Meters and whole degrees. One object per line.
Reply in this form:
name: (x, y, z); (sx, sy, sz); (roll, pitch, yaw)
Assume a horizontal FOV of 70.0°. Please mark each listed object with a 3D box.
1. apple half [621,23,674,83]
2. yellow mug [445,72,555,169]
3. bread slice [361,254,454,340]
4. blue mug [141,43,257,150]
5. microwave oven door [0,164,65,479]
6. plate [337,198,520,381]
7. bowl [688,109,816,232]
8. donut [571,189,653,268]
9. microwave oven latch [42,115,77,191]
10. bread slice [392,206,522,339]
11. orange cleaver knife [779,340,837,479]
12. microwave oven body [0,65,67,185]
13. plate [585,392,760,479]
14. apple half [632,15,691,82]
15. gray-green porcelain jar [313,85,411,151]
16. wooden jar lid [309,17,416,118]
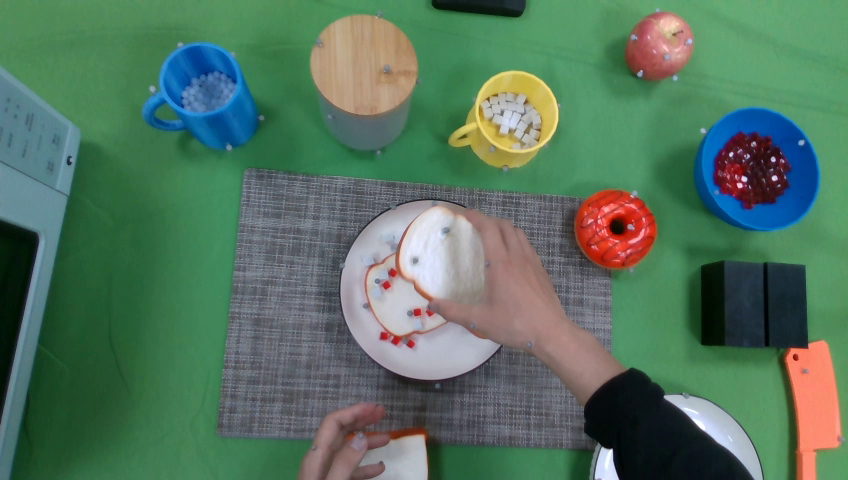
apple half: (0.269, -0.226, 0.759); (0.033, 0.081, 0.081); (-29, 85, -15)
yellow mug: (0.087, -0.137, 0.729); (0.131, 0.064, 0.099); (-19, 84, -9)
bread slice: (-0.004, 0.057, 0.698); (0.131, 0.019, 0.104); (-22, 84, -10)
blue mug: (-0.251, -0.149, 0.669); (0.116, 0.106, 0.082); (-21, 83, -9)
microwave oven door: (-0.418, 0.102, 0.522); (0.039, 0.244, 0.354); (7, 80, -5)
plate: (0.005, 0.056, 0.699); (0.208, 0.039, 0.207); (1, 81, -7)
bowl: (0.387, -0.077, 0.748); (0.151, 0.077, 0.151); (1, 81, -6)
donut: (0.226, -0.014, 0.733); (0.099, 0.048, 0.098); (1, 82, -6)
microwave oven latch: (-0.401, -0.096, 0.658); (0.030, 0.029, 0.079); (10, 81, -6)
bread slice: (0.031, 0.030, 0.635); (0.135, 0.018, 0.106); (32, 63, -15)
orange cleaver knife: (0.473, 0.228, 0.741); (0.077, 0.012, 0.210); (6, 79, -12)
microwave oven body: (-0.558, 0.041, 0.520); (0.327, 0.260, 0.440); (8, 81, -6)
plate: (0.282, 0.280, 0.700); (0.209, 0.038, 0.208); (1, 81, -6)
apple half: (0.302, -0.245, 0.767); (0.053, 0.075, 0.080); (-28, 81, -15)
gray-green porcelain jar: (-0.069, -0.164, 0.683); (0.106, 0.126, 0.105); (1, 80, -6)
wooden jar lid: (-0.063, -0.175, 0.622); (0.108, 0.021, 0.108); (1, 79, -6)
